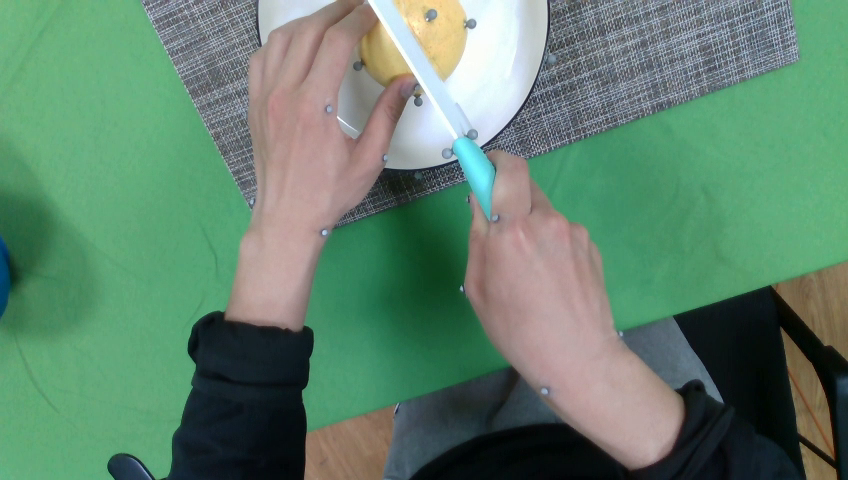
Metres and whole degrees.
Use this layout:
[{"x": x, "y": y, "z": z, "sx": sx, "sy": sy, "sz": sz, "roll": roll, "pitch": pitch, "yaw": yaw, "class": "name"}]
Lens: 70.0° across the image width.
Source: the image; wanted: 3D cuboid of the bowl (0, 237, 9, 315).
[{"x": -0.423, "y": 0.022, "z": 0.523, "sx": 0.151, "sy": 0.076, "sz": 0.152, "roll": 1, "pitch": 113, "yaw": 3, "class": "bowl"}]

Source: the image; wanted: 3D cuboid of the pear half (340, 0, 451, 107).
[{"x": -0.021, "y": -0.135, "z": 0.404, "sx": 0.056, "sy": 0.109, "sz": 0.076, "roll": -6, "pitch": 80, "yaw": -30, "class": "pear half"}]

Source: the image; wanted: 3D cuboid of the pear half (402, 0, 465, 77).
[{"x": 0.009, "y": -0.148, "z": 0.406, "sx": 0.031, "sy": 0.087, "sz": 0.071, "roll": -28, "pitch": 103, "yaw": 14, "class": "pear half"}]

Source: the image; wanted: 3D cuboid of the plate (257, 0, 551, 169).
[{"x": -0.014, "y": -0.157, "z": 0.442, "sx": 0.207, "sy": 0.039, "sz": 0.209, "roll": 1, "pitch": 113, "yaw": 3, "class": "plate"}]

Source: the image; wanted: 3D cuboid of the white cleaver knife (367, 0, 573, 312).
[{"x": 0.016, "y": -0.076, "z": 0.356, "sx": 0.021, "sy": 0.065, "sz": 0.288, "roll": -26, "pitch": 107, "yaw": 20, "class": "white cleaver knife"}]
